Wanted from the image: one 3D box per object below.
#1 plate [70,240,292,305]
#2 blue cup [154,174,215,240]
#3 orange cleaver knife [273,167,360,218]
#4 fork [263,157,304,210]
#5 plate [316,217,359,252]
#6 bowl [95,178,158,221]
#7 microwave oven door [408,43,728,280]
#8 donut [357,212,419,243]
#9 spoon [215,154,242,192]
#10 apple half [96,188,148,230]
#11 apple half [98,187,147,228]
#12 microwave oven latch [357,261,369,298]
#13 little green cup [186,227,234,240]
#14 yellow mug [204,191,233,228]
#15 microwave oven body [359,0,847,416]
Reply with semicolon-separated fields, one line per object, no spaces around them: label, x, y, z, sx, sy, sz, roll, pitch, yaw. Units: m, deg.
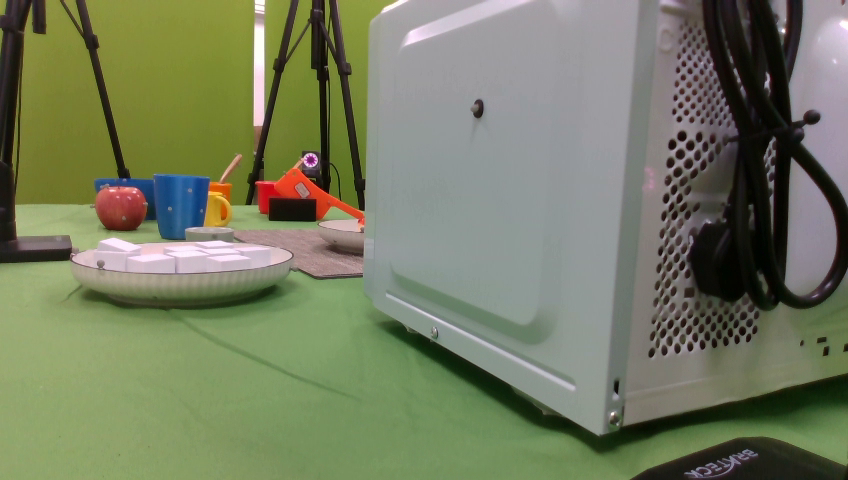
plate;-0.242;0.031;0.618;0.208;0.039;0.207;2;8;0
blue cup;-0.391;-0.053;0.978;0.093;0.100;0.092;4;6;0
orange cleaver knife;-0.238;-0.091;1.381;0.212;0.077;0.012;31;0;-19
fork;-0.345;-0.143;1.505;0.028;0.019;0.207;-3;46;28
plate;-0.064;-0.007;0.943;0.209;0.038;0.209;3;8;0
bowl;-0.576;-0.081;1.217;0.151;0.077;0.151;3;8;0
microwave oven door;0.164;-0.079;0.669;0.357;0.243;0.039;1;8;-12
donut;-0.056;-0.018;0.944;0.099;0.048;0.099;4;5;0
spoon;-0.439;-0.124;1.318;0.041;0.193;0.022;6;-36;15
apple half;-0.517;-0.052;1.036;0.081;0.074;0.053;2;10;-26
apple half;-0.533;-0.059;1.071;0.082;0.081;0.032;-1;12;-25
microwave oven latch;-0.019;0.033;0.530;0.079;0.029;0.030;-1;7;-26
little green cup;-0.284;0.005;0.805;0.061;0.038;0.061;2;8;0
yellow mug;-0.415;-0.057;1.131;0.130;0.064;0.100;6;8;16
microwave oven body;0.211;-0.047;0.474;0.444;0.260;0.324;-1;7;-28
